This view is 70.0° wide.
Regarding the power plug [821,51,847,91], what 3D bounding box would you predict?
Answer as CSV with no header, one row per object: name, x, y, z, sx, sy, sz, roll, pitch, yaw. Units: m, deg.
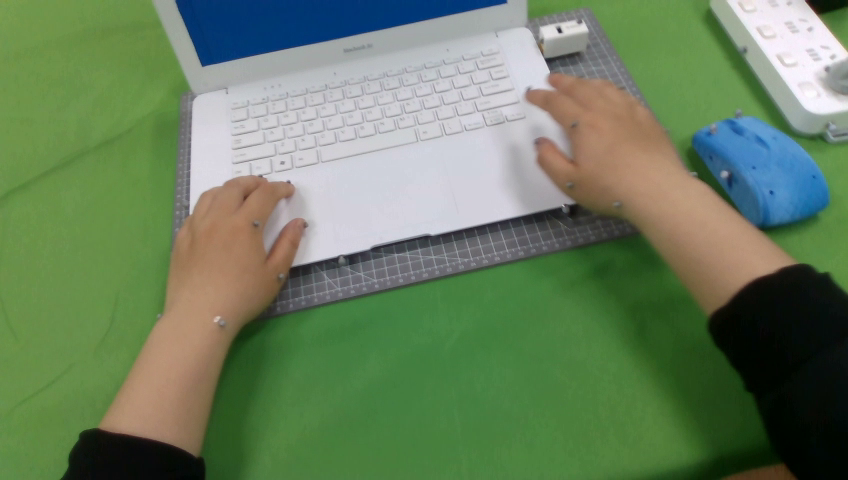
power plug,0.380,-0.143,0.517,0.072,0.053,0.035,-1,57,7

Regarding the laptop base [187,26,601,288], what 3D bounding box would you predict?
laptop base,-0.044,-0.088,0.566,0.354,0.023,0.233,-13,58,-2

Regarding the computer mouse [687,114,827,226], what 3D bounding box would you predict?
computer mouse,0.272,-0.065,0.499,0.063,0.041,0.116,-17,50,-2

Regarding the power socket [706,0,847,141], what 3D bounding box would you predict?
power socket,0.342,-0.186,0.577,0.072,0.033,0.224,-10,55,1

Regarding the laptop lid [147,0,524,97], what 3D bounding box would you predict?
laptop lid,-0.085,-0.268,0.553,0.357,0.244,0.013,-14,42,-1

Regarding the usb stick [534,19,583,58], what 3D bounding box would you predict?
usb stick,0.128,-0.201,0.607,0.059,0.027,0.021,-13,55,2
